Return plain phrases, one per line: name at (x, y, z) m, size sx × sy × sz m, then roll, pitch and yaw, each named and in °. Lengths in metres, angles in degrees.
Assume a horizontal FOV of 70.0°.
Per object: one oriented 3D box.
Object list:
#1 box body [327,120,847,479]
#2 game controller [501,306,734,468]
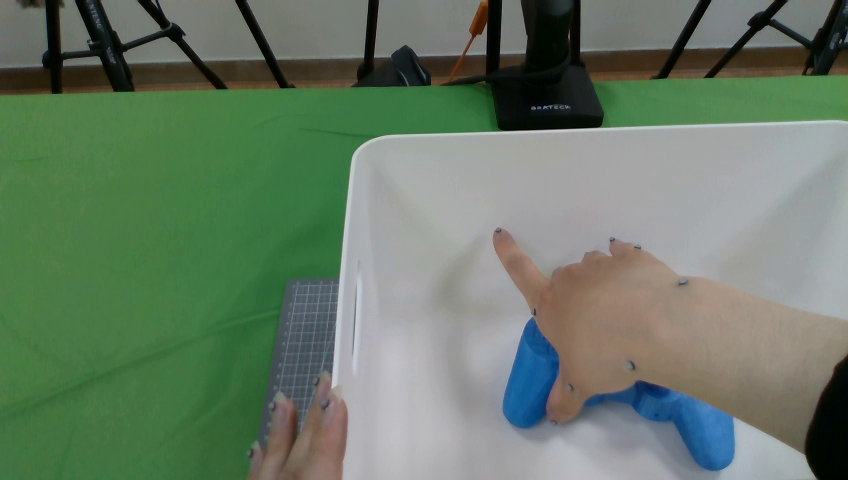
box body at (0.137, 0.066, 0.390) m, size 0.364 × 0.162 × 0.251 m, roll -2°, pitch 46°, yaw -1°
game controller at (0.139, 0.095, 0.431) m, size 0.155 × 0.052 × 0.096 m, roll 11°, pitch 39°, yaw 11°
